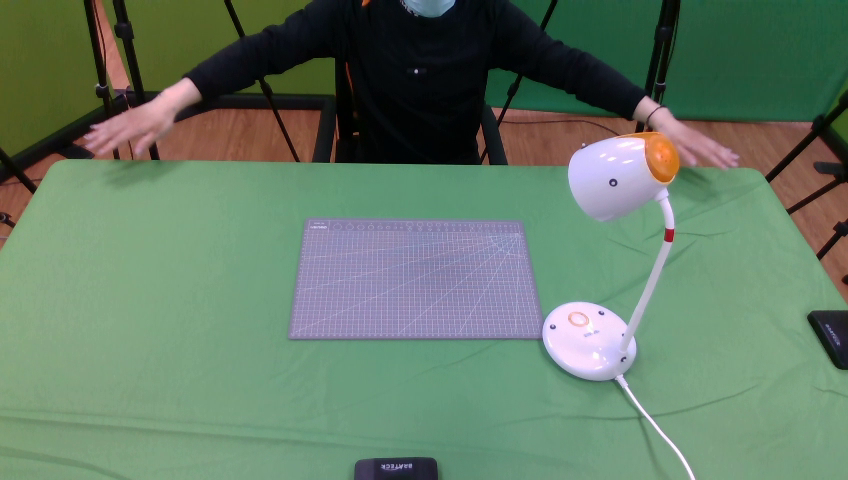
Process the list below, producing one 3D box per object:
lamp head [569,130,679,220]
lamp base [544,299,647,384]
[{"bbox_3d":[0.272,-0.090,0.798,0.113,0.122,0.112,7,78,-33],"label":"lamp head"},{"bbox_3d":[0.299,0.124,0.984,0.161,0.181,0.178,-23,55,-23],"label":"lamp base"}]
